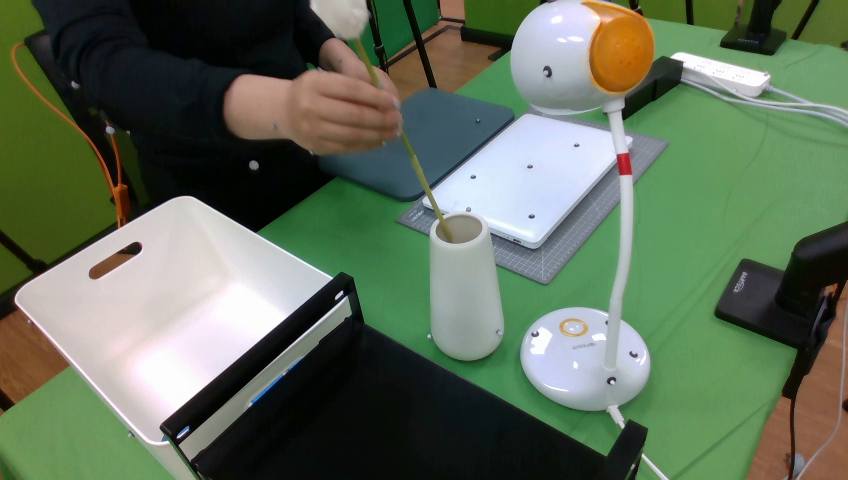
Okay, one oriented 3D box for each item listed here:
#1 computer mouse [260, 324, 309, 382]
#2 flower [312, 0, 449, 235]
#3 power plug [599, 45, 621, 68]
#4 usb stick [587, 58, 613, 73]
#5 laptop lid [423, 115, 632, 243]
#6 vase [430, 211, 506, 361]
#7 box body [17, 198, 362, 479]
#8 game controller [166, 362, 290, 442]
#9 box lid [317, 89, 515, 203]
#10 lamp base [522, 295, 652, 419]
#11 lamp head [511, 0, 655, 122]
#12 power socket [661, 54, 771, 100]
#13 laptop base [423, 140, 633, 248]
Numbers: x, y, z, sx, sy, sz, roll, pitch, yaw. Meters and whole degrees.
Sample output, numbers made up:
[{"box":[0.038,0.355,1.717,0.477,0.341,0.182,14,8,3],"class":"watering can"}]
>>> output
[{"box":[-0.157,0.155,0.793,0.116,0.041,0.063,29,50,24],"class":"computer mouse"},{"box":[-0.022,-0.107,0.596,0.044,0.364,0.038,13,62,26],"class":"flower"},{"box":[0.437,-0.422,1.413,0.053,0.035,0.072,-18,75,-47],"class":"power plug"},{"box":[0.401,-0.399,1.381,0.059,0.027,0.021,0,50,20],"class":"usb stick"},{"box":[0.190,-0.126,1.081,0.239,0.013,0.358,23,48,34],"class":"laptop lid"},{"box":[0.053,0.062,0.758,0.098,0.201,0.097,-3,40,3],"class":"vase"},{"box":[-0.285,0.123,0.766,0.361,0.161,0.255,25,49,33],"class":"box body"},{"box":[-0.233,0.210,0.737,0.096,0.052,0.155,27,52,32],"class":"game controller"},{"box":[-0.009,-0.207,1.236,0.261,0.015,0.372,23,49,32],"class":"box lid"},{"box":[0.201,0.095,0.710,0.161,0.181,0.177,-16,43,-10],"class":"lamp base"},{"box":[0.155,-0.168,0.563,0.113,0.113,0.122,-18,23,-12],"class":"lamp head"},{"box":[0.615,-0.348,1.285,0.072,0.033,0.225,-36,48,-28],"class":"power socket"},{"box":[0.194,-0.117,1.087,0.233,0.023,0.355,20,47,34],"class":"laptop base"}]
